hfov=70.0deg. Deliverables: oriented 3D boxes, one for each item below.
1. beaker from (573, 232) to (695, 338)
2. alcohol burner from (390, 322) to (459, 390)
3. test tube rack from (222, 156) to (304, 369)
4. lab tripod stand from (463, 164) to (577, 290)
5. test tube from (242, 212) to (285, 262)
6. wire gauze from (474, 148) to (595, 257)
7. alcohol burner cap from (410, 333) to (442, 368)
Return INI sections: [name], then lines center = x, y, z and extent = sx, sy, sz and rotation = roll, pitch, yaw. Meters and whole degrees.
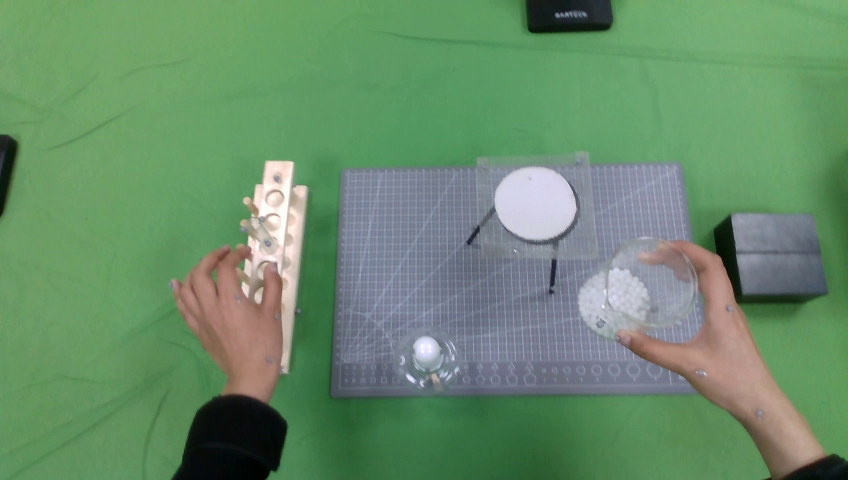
[beaker]
center = 0.174, 0.046, 0.528
extent = 0.084, 0.101, 0.073
rotation = -30, 76, -11
[alcohol burner]
center = 0.000, 0.126, 0.671
extent = 0.078, 0.120, 0.077
rotation = 0, 71, 0
[test tube rack]
center = -0.195, 0.027, 0.724
extent = 0.067, 0.085, 0.241
rotation = 1, 72, 2
[lab tripod stand]
center = 0.121, -0.024, 0.708
extent = 0.148, 0.132, 0.147
rotation = -1, 70, 2
[test tube]
center = -0.177, 0.000, 0.681
extent = 0.017, 0.151, 0.017
rotation = 0, 73, -1
[wire gauze]
center = 0.116, -0.041, 0.643
extent = 0.125, 0.011, 0.120
rotation = 0, 72, 1
[alcohol burner cap]
center = 0.000, 0.115, 0.637
extent = 0.034, 0.048, 0.033
rotation = -2, 68, 6
